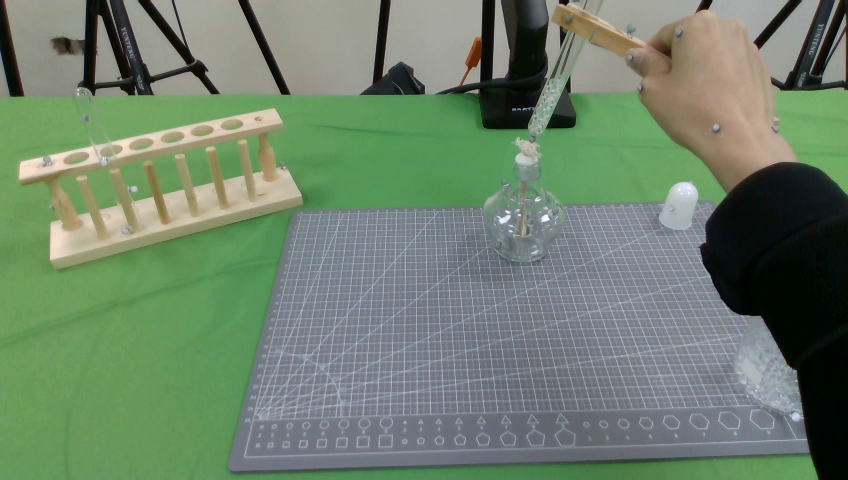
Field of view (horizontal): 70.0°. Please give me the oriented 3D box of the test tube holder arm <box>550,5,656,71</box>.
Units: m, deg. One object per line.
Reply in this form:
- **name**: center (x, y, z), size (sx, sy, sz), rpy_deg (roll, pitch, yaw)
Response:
- **test tube holder arm**: center (0.130, -0.149, 0.443), size (0.087, 0.015, 0.010), rpy_deg (37, 42, 23)

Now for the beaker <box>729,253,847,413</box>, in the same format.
- **beaker**: center (0.269, 0.069, 0.439), size (0.074, 0.101, 0.083), rpy_deg (-20, 43, -22)

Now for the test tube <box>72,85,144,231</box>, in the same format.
- **test tube**: center (-0.289, -0.071, 0.557), size (0.017, 0.152, 0.017), rpy_deg (-1, 39, 1)

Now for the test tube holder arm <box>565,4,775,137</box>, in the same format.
- **test tube holder arm**: center (0.164, -0.124, 0.427), size (0.013, 0.015, 0.176), rpy_deg (-20, 52, -38)

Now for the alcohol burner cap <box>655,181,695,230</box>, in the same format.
- **alcohol burner cap**: center (0.255, -0.038, 0.612), size (0.034, 0.048, 0.033), rpy_deg (0, 40, 0)

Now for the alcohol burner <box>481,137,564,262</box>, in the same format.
- **alcohol burner**: center (0.092, -0.040, 0.560), size (0.078, 0.120, 0.077), rpy_deg (-1, 38, 1)

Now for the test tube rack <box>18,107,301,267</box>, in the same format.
- **test tube rack**: center (-0.256, -0.058, 0.611), size (0.243, 0.086, 0.066), rpy_deg (-17, 43, -19)

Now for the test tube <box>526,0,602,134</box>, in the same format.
- **test tube**: center (0.112, -0.148, 0.470), size (0.017, 0.151, 0.017), rpy_deg (12, 39, -10)
